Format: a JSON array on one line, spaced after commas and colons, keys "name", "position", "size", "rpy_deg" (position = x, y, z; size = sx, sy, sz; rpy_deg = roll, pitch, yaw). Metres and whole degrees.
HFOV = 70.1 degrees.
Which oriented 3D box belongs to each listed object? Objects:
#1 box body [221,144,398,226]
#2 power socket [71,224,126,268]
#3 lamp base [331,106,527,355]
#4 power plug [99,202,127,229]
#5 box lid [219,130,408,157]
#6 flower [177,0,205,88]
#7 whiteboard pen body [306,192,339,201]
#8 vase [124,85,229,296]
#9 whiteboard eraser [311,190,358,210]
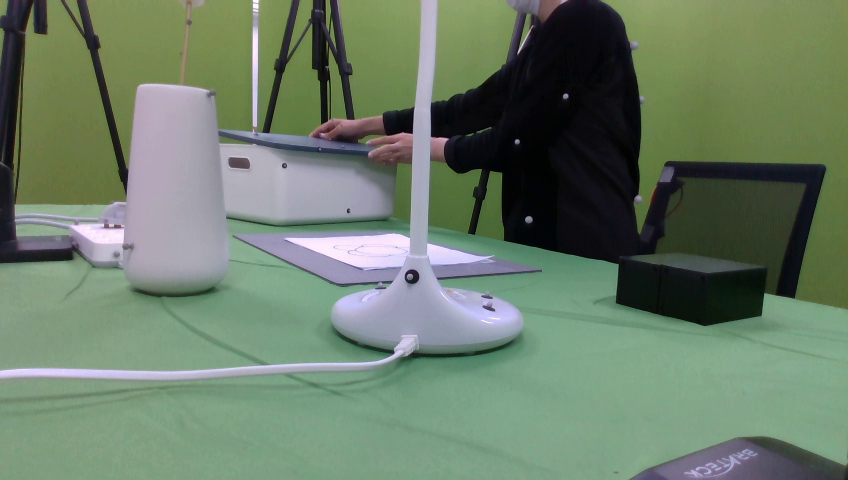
[{"name": "box body", "position": [-0.264, -0.129, 1.380], "size": [0.253, 0.160, 0.366], "rpy_deg": [8, 9, 39]}, {"name": "power socket", "position": [-0.409, 0.004, 0.793], "size": [0.072, 0.032, 0.225], "rpy_deg": [-2, 8, -37]}, {"name": "lamp base", "position": [0.006, -0.012, 0.478], "size": [0.161, 0.180, 0.179], "rpy_deg": [2, 10, 2]}, {"name": "power plug", "position": [-0.415, -0.026, 0.848], "size": [0.073, 0.052, 0.035], "rpy_deg": [6, 5, -28]}, {"name": "box lid", "position": [-0.243, -0.213, 1.354], "size": [0.262, 0.015, 0.373], "rpy_deg": [17, 14, 40]}, {"name": "flower", "position": [-0.243, -0.130, 0.609], "size": [0.044, 0.361, 0.038], "rpy_deg": [-5, -12, 12]}, {"name": "whiteboard pen body", "position": [-0.239, -0.102, 1.428], "size": [0.017, 0.017, 0.140], "rpy_deg": [-4, 9, -40]}, {"name": "vase", "position": [-0.244, -0.047, 0.598], "size": [0.098, 0.200, 0.098], "rpy_deg": [3, 8, 0]}, {"name": "whiteboard eraser", "position": [-0.225, -0.100, 1.517], "size": [0.112, 0.042, 0.056], "rpy_deg": [7, 17, 30]}]
